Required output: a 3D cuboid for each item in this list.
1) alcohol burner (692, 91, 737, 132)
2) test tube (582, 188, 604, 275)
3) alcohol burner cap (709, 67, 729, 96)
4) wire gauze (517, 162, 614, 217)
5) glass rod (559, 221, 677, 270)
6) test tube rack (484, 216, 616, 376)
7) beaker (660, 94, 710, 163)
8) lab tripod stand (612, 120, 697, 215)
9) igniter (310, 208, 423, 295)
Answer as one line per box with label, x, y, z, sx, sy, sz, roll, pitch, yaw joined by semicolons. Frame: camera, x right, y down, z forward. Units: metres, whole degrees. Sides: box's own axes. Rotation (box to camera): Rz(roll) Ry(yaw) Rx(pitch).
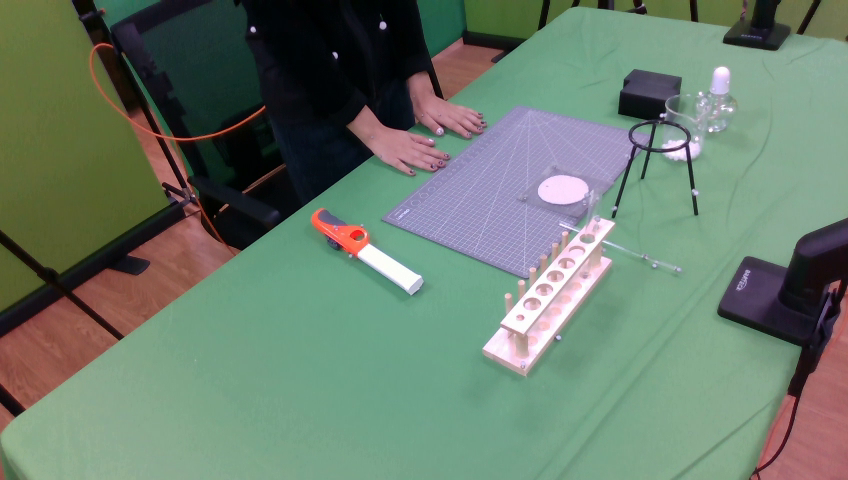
alcohol burner;0.540;-0.262;1.118;0.078;0.119;0.077;-5;42;5
test tube;0.228;-0.007;0.822;0.017;0.151;0.017;-3;42;3
alcohol burner cap;0.535;-0.288;1.094;0.034;0.048;0.033;-8;42;8
wire gauze;0.245;-0.088;1.046;0.120;0.011;0.125;25;50;32
glass rod;0.292;0.007;0.927;0.198;0.008;0.008;26;52;36
test tube rack;0.174;0.064;0.823;0.066;0.085;0.243;23;49;32
beaker;0.457;-0.192;1.063;0.074;0.101;0.083;-7;41;4
lab tripod stand;0.369;-0.112;0.958;0.148;0.132;0.147;-4;40;4
igniter;-0.103;0.012;0.982;0.057;0.025;0.274;-42;49;-20
